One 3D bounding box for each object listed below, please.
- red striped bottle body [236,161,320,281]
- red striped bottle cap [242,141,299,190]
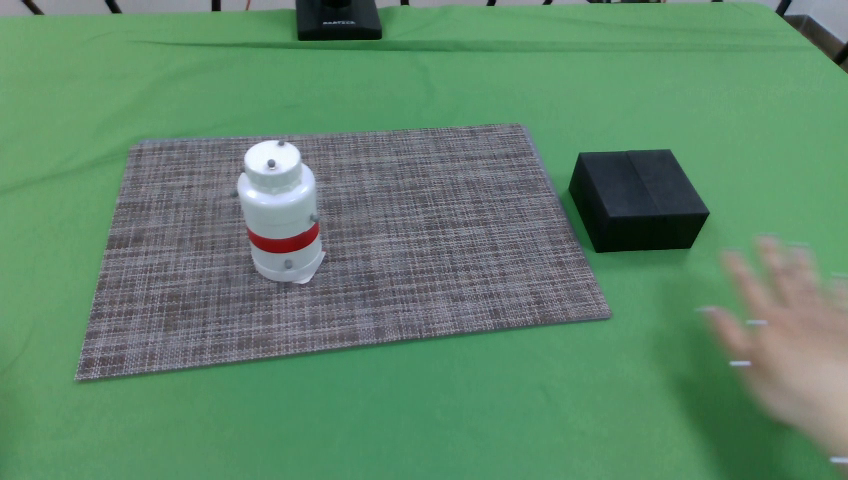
[{"bbox_3d":[-0.126,-0.024,0.526,0.063,0.120,0.062,3,47,-2],"label":"red striped bottle body"},{"bbox_3d":[-0.124,-0.061,0.487,0.044,0.018,0.044,5,45,-5],"label":"red striped bottle cap"}]
